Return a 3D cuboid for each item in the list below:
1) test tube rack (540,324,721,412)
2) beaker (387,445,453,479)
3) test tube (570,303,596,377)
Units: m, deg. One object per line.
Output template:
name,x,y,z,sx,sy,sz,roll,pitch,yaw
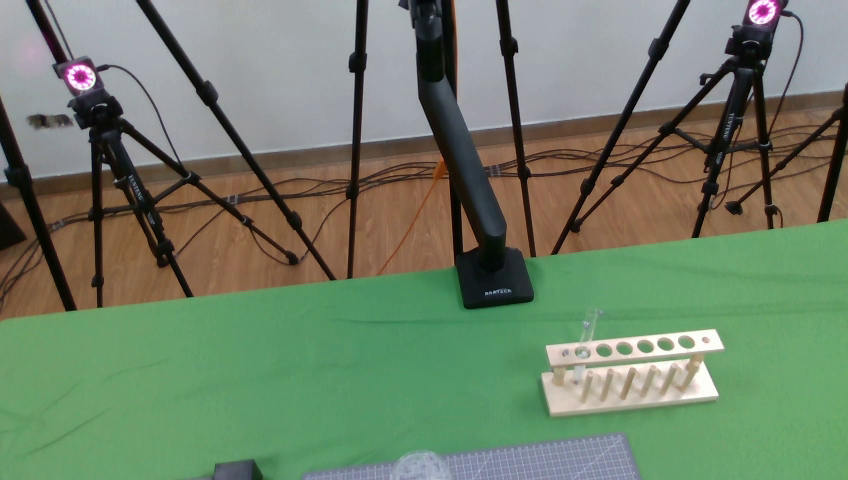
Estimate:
test tube rack,0.296,0.184,0.869,0.242,0.086,0.066,-6,46,-1
beaker,0.000,0.313,0.753,0.083,0.101,0.073,12,49,14
test tube,0.221,0.142,0.845,0.017,0.151,0.017,-1,42,1
